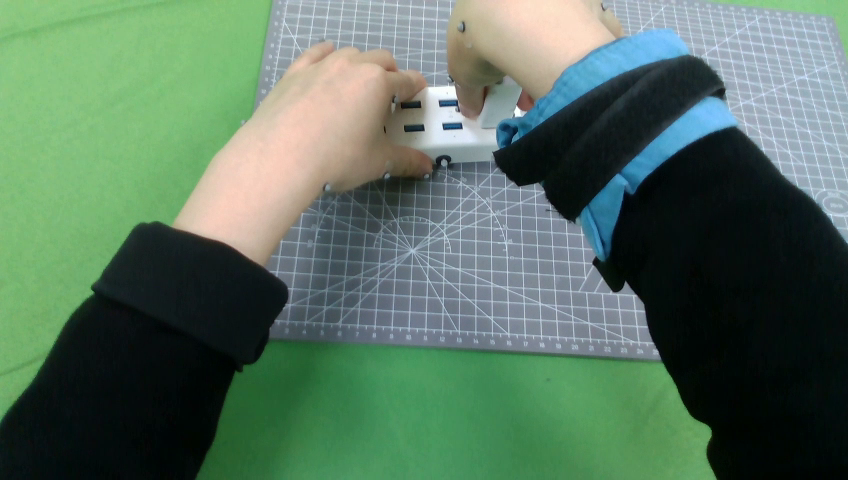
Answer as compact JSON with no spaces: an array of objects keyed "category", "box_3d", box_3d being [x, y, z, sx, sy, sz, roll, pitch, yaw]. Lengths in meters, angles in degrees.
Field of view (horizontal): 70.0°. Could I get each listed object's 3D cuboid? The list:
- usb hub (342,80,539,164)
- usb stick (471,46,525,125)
[{"category":"usb hub","box_3d":[0.009,-0.080,0.401,0.125,0.025,0.049,-4,66,-8]},{"category":"usb stick","box_3d":[0.044,-0.090,0.376,0.021,0.059,0.027,-8,64,-9]}]
